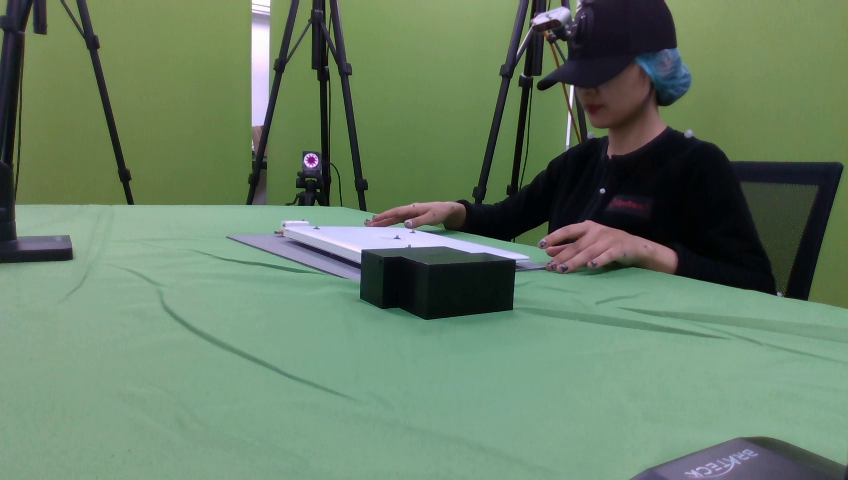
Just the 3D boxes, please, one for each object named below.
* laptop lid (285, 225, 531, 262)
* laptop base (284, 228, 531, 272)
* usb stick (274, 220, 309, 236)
[{"bbox_3d":[-0.040,0.000,0.900,0.243,0.013,0.355,0,7,-31],"label":"laptop lid"},{"bbox_3d":[-0.042,0.012,0.901,0.237,0.023,0.352,1,6,-33],"label":"laptop base"},{"bbox_3d":[-0.230,-0.020,1.045,0.059,0.027,0.021,-7,12,-38],"label":"usb stick"}]
